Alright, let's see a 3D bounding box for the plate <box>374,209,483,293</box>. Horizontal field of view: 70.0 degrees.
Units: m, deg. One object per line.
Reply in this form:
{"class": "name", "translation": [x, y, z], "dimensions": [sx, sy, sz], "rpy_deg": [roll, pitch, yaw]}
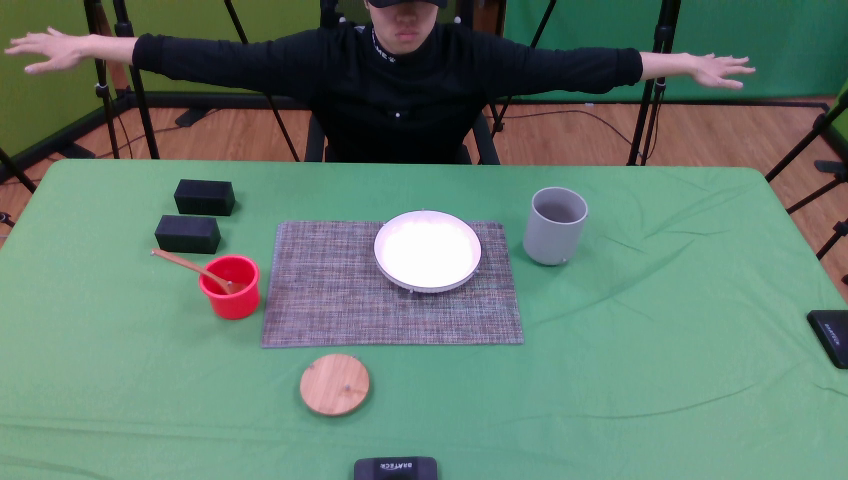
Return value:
{"class": "plate", "translation": [0.008, 0.024, 1.158], "dimensions": [0.208, 0.039, 0.206], "rpy_deg": [2, 46, -2]}

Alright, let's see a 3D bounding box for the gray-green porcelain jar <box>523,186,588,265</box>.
{"class": "gray-green porcelain jar", "translation": [0.249, -0.023, 1.164], "dimensions": [0.106, 0.127, 0.105], "rpy_deg": [2, 46, -2]}

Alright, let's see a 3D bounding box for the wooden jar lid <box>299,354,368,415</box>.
{"class": "wooden jar lid", "translation": [-0.143, 0.232, 0.964], "dimensions": [0.108, 0.021, 0.107], "rpy_deg": [2, 45, -2]}

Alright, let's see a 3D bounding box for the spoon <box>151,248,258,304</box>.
{"class": "spoon", "translation": [-0.369, 0.058, 1.028], "dimensions": [0.195, 0.021, 0.041], "rpy_deg": [36, 35, -32]}
